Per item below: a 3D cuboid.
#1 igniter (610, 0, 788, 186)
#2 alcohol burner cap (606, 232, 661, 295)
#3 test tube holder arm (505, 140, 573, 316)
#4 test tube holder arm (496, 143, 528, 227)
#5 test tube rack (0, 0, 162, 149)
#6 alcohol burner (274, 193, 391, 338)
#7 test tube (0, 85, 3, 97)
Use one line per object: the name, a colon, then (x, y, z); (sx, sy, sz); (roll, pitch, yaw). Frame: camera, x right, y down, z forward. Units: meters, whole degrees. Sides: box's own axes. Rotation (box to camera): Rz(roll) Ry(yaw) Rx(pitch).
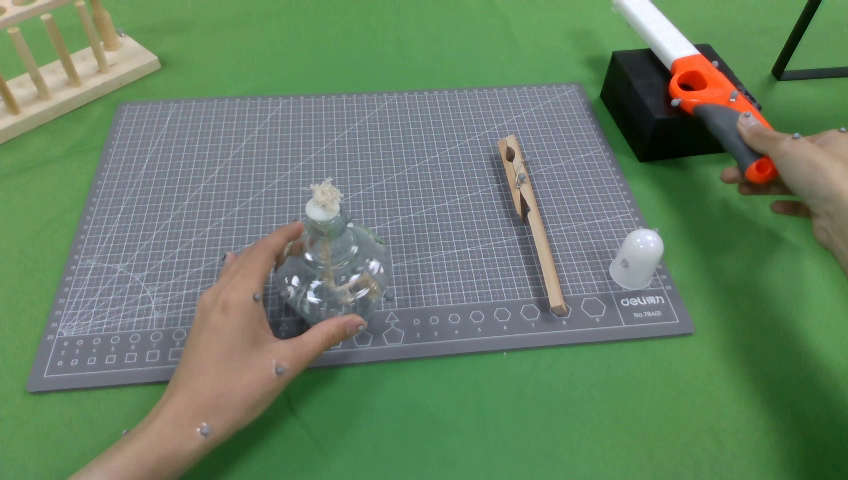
igniter: (0.234, -0.145, 0.538); (0.057, 0.025, 0.273); (-14, 50, -2)
alcohol burner cap: (0.156, 0.015, 0.447); (0.034, 0.048, 0.033); (2, 48, -2)
test tube holder arm: (0.088, -0.016, 0.484); (0.013, 0.015, 0.176); (-29, 48, 20)
test tube holder arm: (0.077, -0.048, 0.514); (0.010, 0.015, 0.087); (-28, 48, 21)
test tube rack: (-0.369, -0.147, 0.535); (0.066, 0.086, 0.242); (36, 57, 25)
alcohol burner: (-0.061, 0.011, 0.393); (0.078, 0.120, 0.077); (1, 51, 0)
test tube: (-0.387, -0.183, 0.500); (0.017, 0.151, 0.017); (3, 46, -2)
